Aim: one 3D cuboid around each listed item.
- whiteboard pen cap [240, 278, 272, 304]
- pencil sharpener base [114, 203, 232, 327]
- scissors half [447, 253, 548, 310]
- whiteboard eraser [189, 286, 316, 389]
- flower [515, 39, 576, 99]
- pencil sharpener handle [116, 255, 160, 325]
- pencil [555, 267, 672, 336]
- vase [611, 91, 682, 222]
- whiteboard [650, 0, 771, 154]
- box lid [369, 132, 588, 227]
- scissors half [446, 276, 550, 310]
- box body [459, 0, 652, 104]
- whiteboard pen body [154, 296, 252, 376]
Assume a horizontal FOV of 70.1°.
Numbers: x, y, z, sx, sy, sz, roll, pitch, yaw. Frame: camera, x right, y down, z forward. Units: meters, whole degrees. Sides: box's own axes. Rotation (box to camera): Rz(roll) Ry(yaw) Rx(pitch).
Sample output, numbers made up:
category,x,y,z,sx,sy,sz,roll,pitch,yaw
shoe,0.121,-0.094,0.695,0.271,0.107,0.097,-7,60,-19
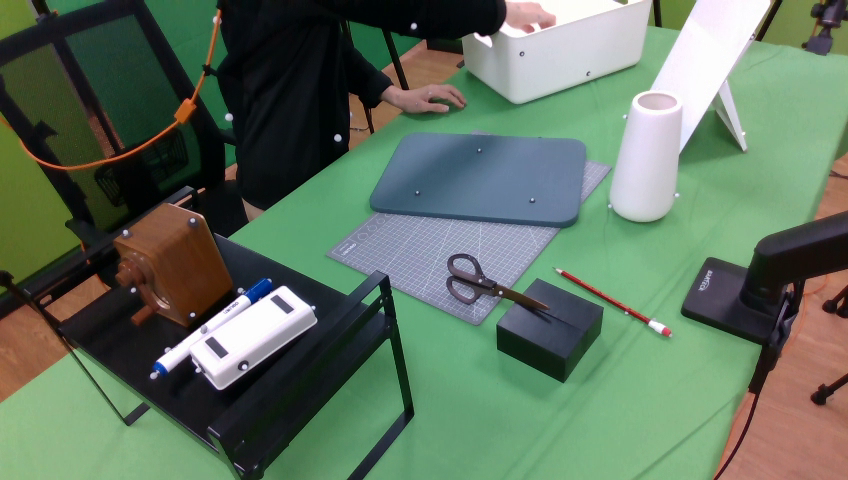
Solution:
category,x,y,z,sx,sy,sz,roll,pitch,yaw
whiteboard pen cap,-0.183,0.057,0.658,0.018,0.018,0.033,19,44,28
pencil sharpener base,-0.262,0.029,0.635,0.061,0.107,0.077,18,47,26
scissors half,0.098,0.058,0.821,0.173,0.040,0.013,27,32,36
whiteboard eraser,-0.166,0.096,0.593,0.113,0.042,0.055,-36,46,-29
flower,0.297,-0.412,1.412,0.044,0.038,0.362,-14,24,40
pencil sharpener handle,-0.286,0.050,0.594,0.035,0.068,0.031,7,41,35
pencil,0.261,0.082,0.851,0.012,0.012,0.192,-33,45,-27
vase,0.348,-0.125,0.936,0.098,0.201,0.097,-3,40,3
whiteboard,0.543,-0.298,1.076,0.144,0.305,0.216,12,40,-7
box lid,0.107,-0.120,1.107,0.370,0.015,0.263,5,42,14
scissors half,0.097,0.077,0.827,0.174,0.040,0.013,6,13,44
box body,0.291,-0.465,1.371,0.365,0.161,0.252,-22,42,-16
whiteboard pen body,-0.215,0.088,0.619,0.017,0.017,0.141,19,42,28
